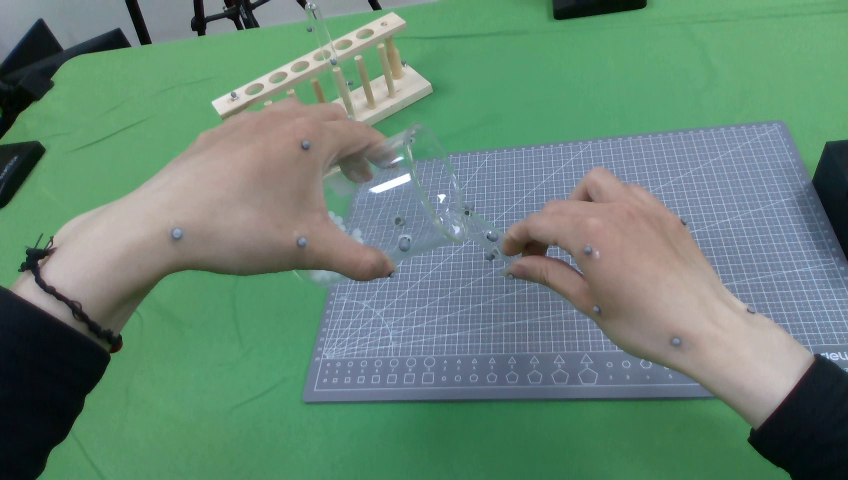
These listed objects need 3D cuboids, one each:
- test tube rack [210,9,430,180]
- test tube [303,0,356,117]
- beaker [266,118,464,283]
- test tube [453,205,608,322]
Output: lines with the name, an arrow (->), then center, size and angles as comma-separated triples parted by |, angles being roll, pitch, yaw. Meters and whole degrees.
test tube rack -> -0.118, -0.176, 0.723 | 0.242, 0.086, 0.066 | -31, 50, -12
test tube -> -0.104, -0.201, 0.681 | 0.017, 0.152, 0.017 | -8, 48, 9
beaker -> -0.035, -0.019, 0.365 | 0.100, 0.085, 0.073 | -19, 62, 19
test tube -> 0.078, 0.020, 0.418 | 0.017, 0.151, 0.017 | -39, 32, 30
